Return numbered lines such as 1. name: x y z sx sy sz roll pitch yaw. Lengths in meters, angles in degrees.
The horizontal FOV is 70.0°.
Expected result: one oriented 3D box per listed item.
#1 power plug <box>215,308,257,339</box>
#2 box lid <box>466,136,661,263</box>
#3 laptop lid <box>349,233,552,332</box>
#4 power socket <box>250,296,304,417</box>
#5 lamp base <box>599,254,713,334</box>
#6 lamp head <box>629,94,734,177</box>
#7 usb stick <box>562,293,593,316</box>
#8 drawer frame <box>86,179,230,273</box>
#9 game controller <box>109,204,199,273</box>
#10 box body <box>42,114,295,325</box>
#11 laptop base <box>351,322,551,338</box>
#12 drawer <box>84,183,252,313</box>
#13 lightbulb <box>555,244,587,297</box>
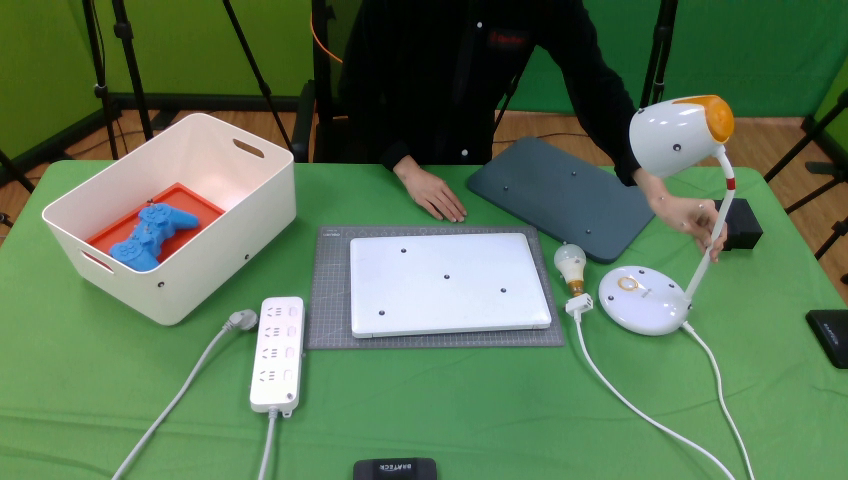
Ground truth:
1. power plug: -0.317 0.143 1.024 0.072 0.053 0.035 -32 58 -9
2. box lid: 0.306 -0.102 1.327 0.370 0.015 0.263 32 52 25
3. laptop lid: 0.040 0.070 1.119 0.357 0.013 0.240 -1 44 -5
4. power socket: -0.239 0.182 0.996 0.072 0.033 0.225 -2 47 -5
5. lamp base: 0.419 0.060 1.062 0.178 0.181 0.160 31 52 20
6. lamp head: 0.381 -0.155 0.879 0.112 0.112 0.122 -37 15 -32
7. usb stick: 0.273 0.118 1.086 0.021 0.059 0.027 37 46 -26
8. drawer frame: -0.453 0.010 1.100 0.201 0.083 0.213 28 54 23
9. game controller: -0.467 -0.005 1.044 0.097 0.052 0.154 8 45 10
10. box body: -0.437 -0.046 1.110 0.253 0.161 0.363 24 49 19
11. laptop base: 0.040 0.081 1.126 0.355 0.023 0.234 -2 43 -7
12. drawer: -0.457 0.008 1.099 0.194 0.073 0.211 29 49 21
13. lightbulb: 0.282 0.057 1.146 0.059 0.060 0.107 -2 62 -6
